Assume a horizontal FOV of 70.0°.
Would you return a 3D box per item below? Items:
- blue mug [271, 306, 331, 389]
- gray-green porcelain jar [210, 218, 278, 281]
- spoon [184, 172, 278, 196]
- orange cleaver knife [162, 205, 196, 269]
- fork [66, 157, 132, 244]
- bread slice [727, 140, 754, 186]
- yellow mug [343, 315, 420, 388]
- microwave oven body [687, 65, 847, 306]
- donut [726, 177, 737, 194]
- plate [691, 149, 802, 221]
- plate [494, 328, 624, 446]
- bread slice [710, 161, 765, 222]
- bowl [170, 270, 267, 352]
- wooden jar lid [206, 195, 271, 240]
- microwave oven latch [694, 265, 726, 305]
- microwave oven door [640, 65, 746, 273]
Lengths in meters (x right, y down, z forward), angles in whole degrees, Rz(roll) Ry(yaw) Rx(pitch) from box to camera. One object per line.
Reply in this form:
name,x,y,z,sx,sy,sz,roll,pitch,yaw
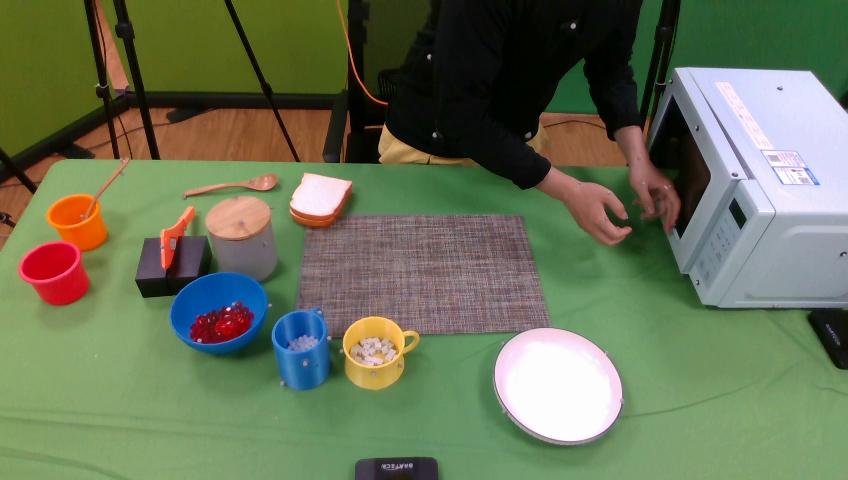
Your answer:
blue mug,-0.187,0.163,0.969,0.082,0.106,0.116,15,47,10
gray-green porcelain jar,-0.322,0.007,1.092,0.106,0.127,0.105,2,46,-2
spoon,-0.405,-0.116,1.275,0.194,0.022,0.041,-8,65,-12
orange cleaver knife,-0.454,-0.010,1.129,0.012,0.077,0.210,-2,20,-5
fork,-0.608,-0.074,1.133,0.207,0.019,0.028,-52,49,10
bread slice,0.661,-0.147,1.200,0.107,0.018,0.133,0,54,10
yellow mug,-0.067,0.177,0.990,0.131,0.064,0.099,-16,50,-19
microwave oven body,0.670,-0.111,1.176,0.326,0.261,0.439,0,46,-3
donut,0.649,-0.125,1.214,0.099,0.048,0.098,-4,55,5
plate,0.652,-0.109,1.238,0.209,0.038,0.208,-1,47,1
plate,0.213,0.236,0.974,0.208,0.039,0.206,2,46,-2
bread slice,0.653,-0.106,1.259,0.105,0.019,0.131,10,67,9
bowl,-0.333,0.132,1.006,0.151,0.077,0.150,2,46,-2
wooden jar lid,-0.319,-0.036,1.047,0.108,0.021,0.107,1,44,-1
microwave oven latch,0.523,0.082,1.115,0.030,0.029,0.078,3,46,0
microwave oven door,0.516,-0.147,1.193,0.039,0.245,0.353,2,47,-1
